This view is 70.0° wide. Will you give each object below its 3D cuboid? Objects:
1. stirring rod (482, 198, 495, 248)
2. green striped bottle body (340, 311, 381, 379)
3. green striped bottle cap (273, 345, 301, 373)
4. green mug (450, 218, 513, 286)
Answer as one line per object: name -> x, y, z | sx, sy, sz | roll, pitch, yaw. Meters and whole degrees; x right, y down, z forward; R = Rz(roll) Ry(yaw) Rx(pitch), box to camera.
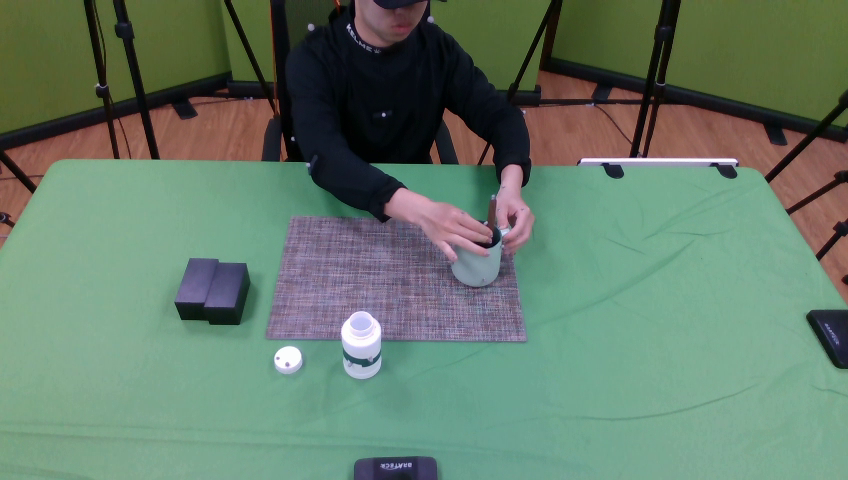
stirring rod -> 0.111, 0.004, 1.082 | 0.014, 0.177, 0.006 | -2, 32, -7
green striped bottle body -> -0.101, 0.164, 0.964 | 0.063, 0.120, 0.063 | 2, 46, -2
green striped bottle cap -> -0.225, 0.195, 0.997 | 0.044, 0.020, 0.044 | 3, 50, -3
green mug -> 0.111, 0.018, 1.125 | 0.125, 0.105, 0.092 | -22, 52, -23
